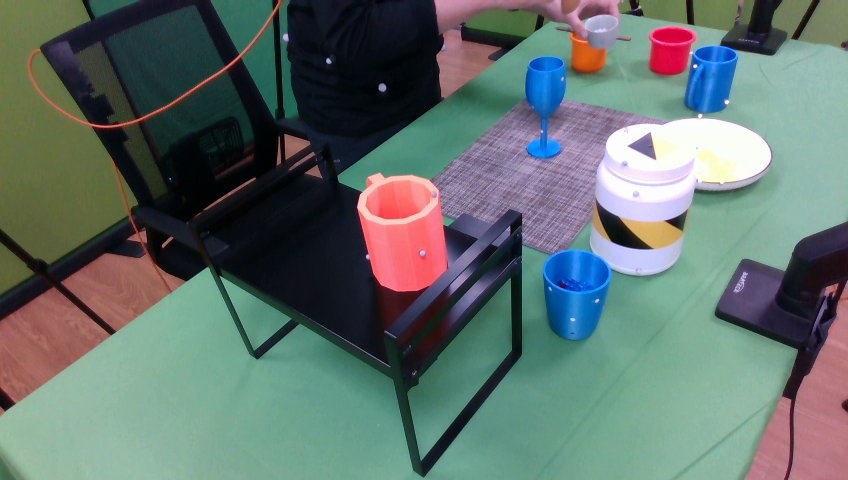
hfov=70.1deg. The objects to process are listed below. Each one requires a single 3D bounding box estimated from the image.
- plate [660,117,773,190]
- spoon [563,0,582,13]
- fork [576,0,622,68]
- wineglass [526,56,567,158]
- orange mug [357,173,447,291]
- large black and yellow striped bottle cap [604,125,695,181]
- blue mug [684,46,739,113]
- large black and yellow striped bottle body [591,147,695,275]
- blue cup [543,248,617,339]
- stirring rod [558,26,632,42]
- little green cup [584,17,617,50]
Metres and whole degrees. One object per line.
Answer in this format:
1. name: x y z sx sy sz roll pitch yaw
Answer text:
1. plate: 0.495 -0.148 1.063 0.209 0.038 0.208 -5 40 4
2. spoon: 0.228 -0.446 1.016 0.041 0.195 0.021 -39 54 13
3. fork: 0.409 -0.484 1.381 0.028 0.019 0.207 37 101 46
4. wineglass: 0.222 -0.241 1.102 0.074 0.173 0.073 -4 41 4
5. orange mug: -0.029 -0.018 0.669 0.084 0.101 0.125 -23 46 -16
6. large black and yellow striped bottle cap: 0.304 -0.120 0.817 0.115 0.019 0.114 -3 41 3
7. blue mug: 0.556 -0.310 1.190 0.117 0.106 0.081 -32 46 -25
8. large black and yellow striped bottle body: 0.313 -0.056 0.870 0.131 0.185 0.130 -4 40 4
9. blue cup: 0.199 0.076 0.797 0.092 0.100 0.092 -4 39 4
10. stirring rod: 0.381 -0.462 1.356 0.175 0.006 0.014 22 49 30
11. little green cup: 0.338 -0.393 1.152 0.061 0.039 0.061 -10 42 10
